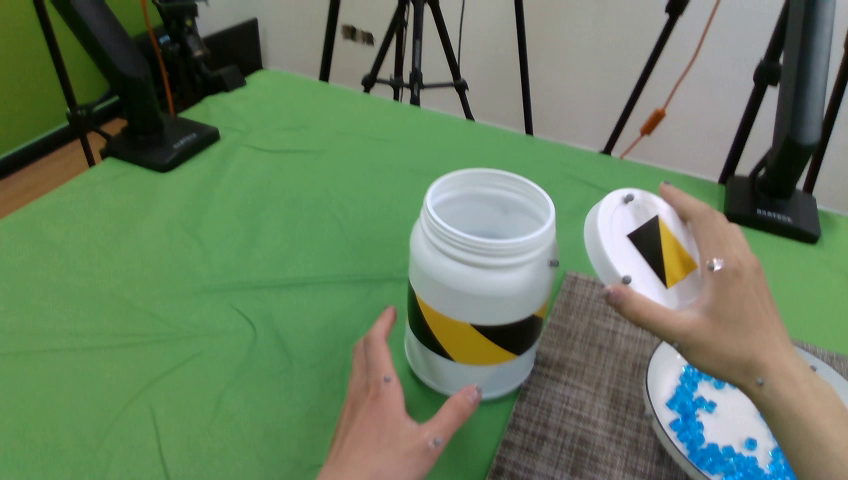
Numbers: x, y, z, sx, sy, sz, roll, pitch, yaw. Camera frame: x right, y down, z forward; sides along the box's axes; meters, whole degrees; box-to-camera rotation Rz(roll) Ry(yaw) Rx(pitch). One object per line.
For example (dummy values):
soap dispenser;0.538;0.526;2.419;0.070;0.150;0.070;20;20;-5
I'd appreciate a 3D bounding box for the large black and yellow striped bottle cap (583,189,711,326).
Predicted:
large black and yellow striped bottle cap;0.175;0.011;0.474;0.116;0.019;0.114;16;54;-22

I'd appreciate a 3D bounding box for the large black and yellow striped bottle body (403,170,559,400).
large black and yellow striped bottle body;0.049;0.041;0.554;0.131;0.185;0.129;3;38;-2

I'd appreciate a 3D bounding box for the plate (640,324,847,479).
plate;0.295;0.162;0.541;0.208;0.039;0.205;3;38;-2
